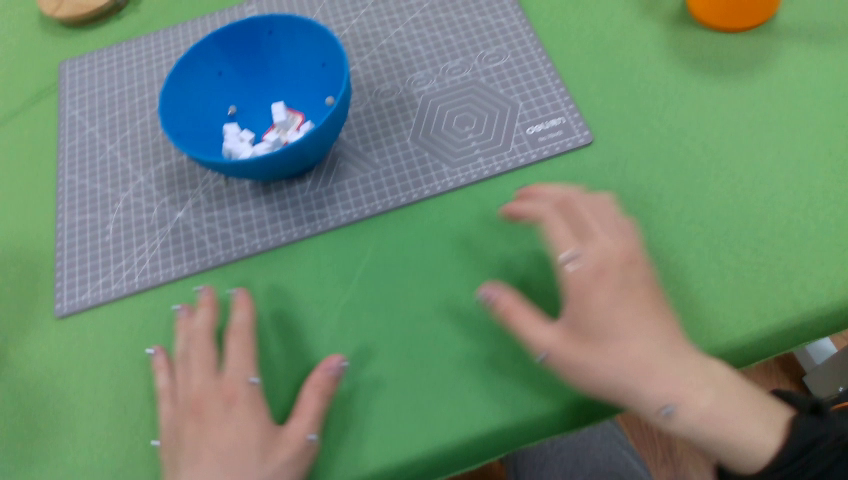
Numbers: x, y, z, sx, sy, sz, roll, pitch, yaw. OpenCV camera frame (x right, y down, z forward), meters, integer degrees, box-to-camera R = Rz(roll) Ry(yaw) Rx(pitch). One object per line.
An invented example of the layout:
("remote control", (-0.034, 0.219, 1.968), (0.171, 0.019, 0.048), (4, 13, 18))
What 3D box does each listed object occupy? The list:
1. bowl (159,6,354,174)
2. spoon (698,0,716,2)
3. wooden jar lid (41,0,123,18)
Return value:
("bowl", (-0.123, -0.106, 0.491), (0.151, 0.077, 0.150), (-4, 62, 7))
("spoon", (0.295, -0.256, 0.465), (0.022, 0.194, 0.041), (12, 55, -35))
("wooden jar lid", (-0.364, -0.282, 0.660), (0.108, 0.021, 0.107), (-3, 62, 6))
